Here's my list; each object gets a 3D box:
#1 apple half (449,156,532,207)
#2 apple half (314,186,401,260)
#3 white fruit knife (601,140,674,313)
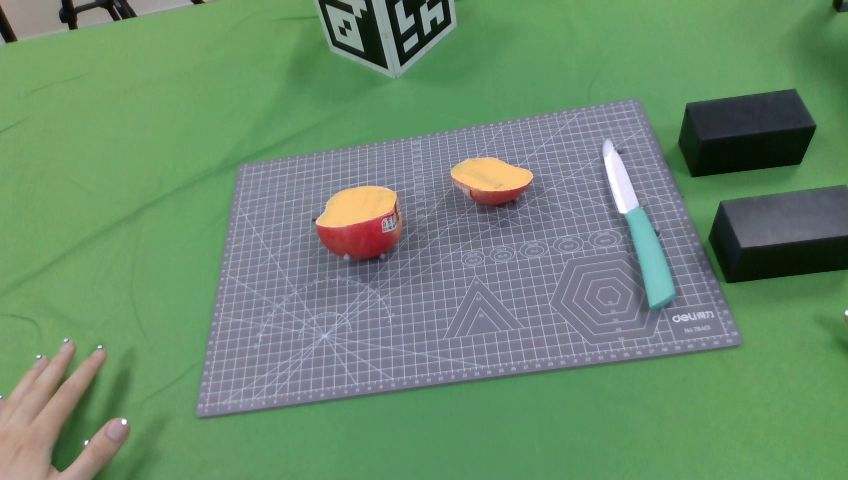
[{"bbox_3d":[0.062,-0.049,0.586,0.081,0.033,0.080,-1,34,1],"label":"apple half"},{"bbox_3d":[-0.057,-0.011,0.568,0.074,0.054,0.080,-9,30,9],"label":"apple half"},{"bbox_3d":[0.191,-0.023,0.556,0.027,0.016,0.205,-3,52,0],"label":"white fruit knife"}]
